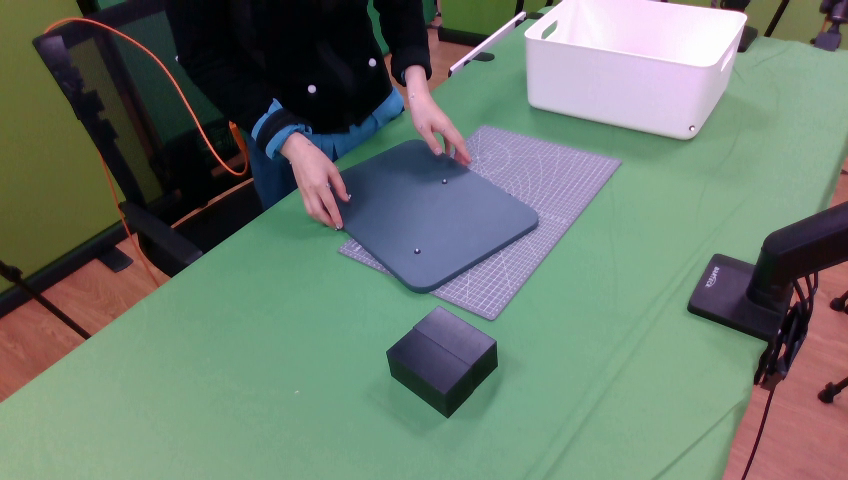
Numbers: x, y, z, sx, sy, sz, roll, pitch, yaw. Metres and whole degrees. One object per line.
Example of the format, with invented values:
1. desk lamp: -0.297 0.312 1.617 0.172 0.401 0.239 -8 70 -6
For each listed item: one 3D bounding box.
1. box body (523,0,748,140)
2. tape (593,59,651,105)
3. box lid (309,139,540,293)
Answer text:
1. box body: 0.412 -0.354 1.212 0.361 0.161 0.254 20 48 29
2. tape: 0.409 -0.330 1.259 0.117 0.053 0.116 -4 40 4
3. box lid: -0.010 -0.060 1.045 0.264 0.015 0.368 -30 45 -24
